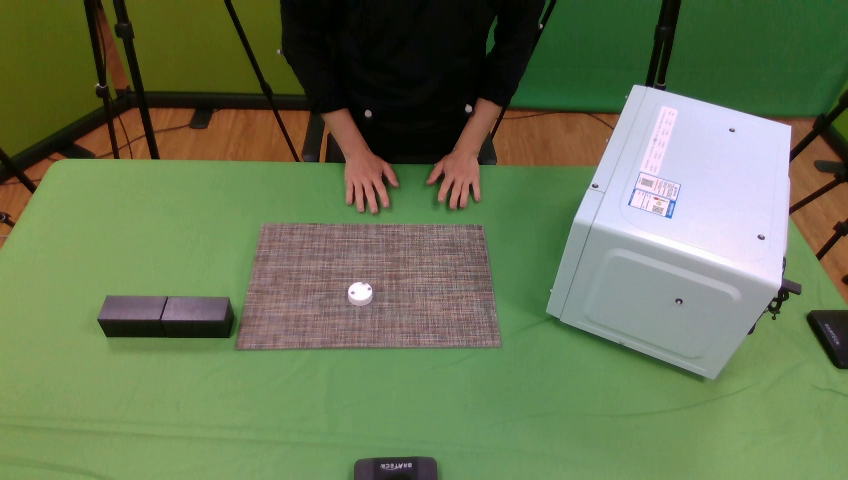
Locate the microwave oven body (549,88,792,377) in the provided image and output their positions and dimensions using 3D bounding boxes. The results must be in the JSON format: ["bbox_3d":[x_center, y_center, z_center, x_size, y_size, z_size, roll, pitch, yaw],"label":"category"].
[{"bbox_3d":[0.456,-0.028,1.088,0.325,0.261,0.440,20,47,16],"label":"microwave oven body"}]

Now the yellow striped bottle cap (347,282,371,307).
[{"bbox_3d":[-0.117,0.098,1.093,0.044,0.019,0.044,3,45,-3],"label":"yellow striped bottle cap"}]

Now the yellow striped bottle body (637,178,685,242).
[{"bbox_3d":[0.442,-0.058,1.126,0.063,0.121,0.062,0,47,0],"label":"yellow striped bottle body"}]

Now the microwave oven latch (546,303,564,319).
[{"bbox_3d":[0.242,0.102,1.081,0.030,0.029,0.079,21,48,17],"label":"microwave oven latch"}]

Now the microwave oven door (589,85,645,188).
[{"bbox_3d":[0.341,-0.107,1.149,0.039,0.245,0.354,20,48,15],"label":"microwave oven door"}]
